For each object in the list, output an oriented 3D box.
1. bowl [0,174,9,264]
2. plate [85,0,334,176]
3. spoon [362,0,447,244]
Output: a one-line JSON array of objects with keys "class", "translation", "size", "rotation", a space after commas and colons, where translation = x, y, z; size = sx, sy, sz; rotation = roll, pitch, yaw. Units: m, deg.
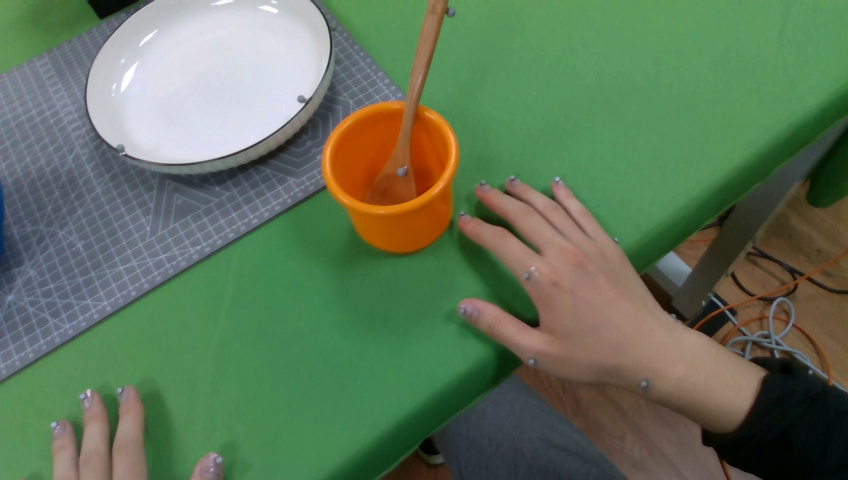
[{"class": "bowl", "translation": [-0.368, -0.006, 0.443], "size": [0.151, 0.077, 0.150], "rotation": [-3, 62, 5]}, {"class": "plate", "translation": [-0.177, -0.138, 0.515], "size": [0.209, 0.038, 0.207], "rotation": [-2, 63, 5]}, {"class": "spoon", "translation": [-0.008, -0.088, 0.413], "size": [0.041, 0.194, 0.021], "rotation": [20, 22, 16]}]
